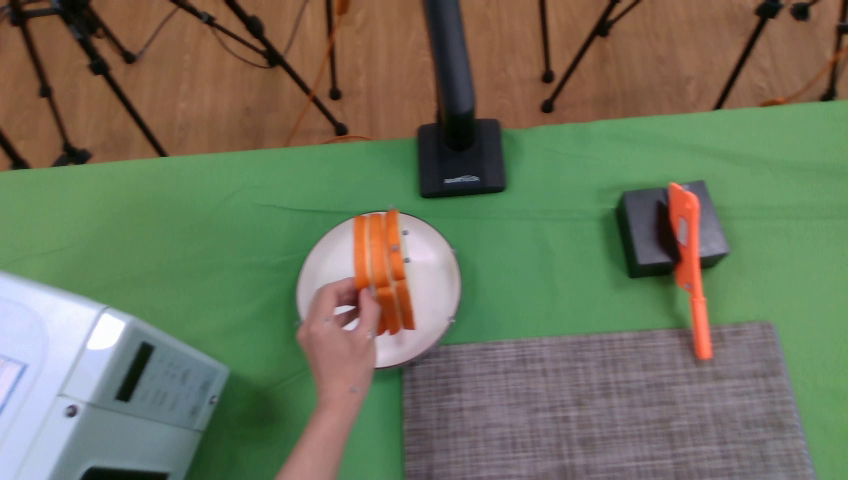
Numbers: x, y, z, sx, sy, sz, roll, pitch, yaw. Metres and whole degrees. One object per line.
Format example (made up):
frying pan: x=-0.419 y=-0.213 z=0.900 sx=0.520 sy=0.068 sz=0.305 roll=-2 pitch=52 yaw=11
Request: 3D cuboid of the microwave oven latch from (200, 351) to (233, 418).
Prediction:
microwave oven latch: x=-0.255 y=0.169 z=0.718 sx=0.030 sy=0.030 sz=0.079 roll=16 pitch=72 yaw=10

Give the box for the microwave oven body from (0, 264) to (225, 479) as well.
microwave oven body: x=-0.456 y=0.256 z=0.596 sx=0.325 sy=0.262 sz=0.439 roll=15 pitch=71 yaw=9

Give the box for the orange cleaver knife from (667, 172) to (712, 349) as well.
orange cleaver knife: x=0.314 y=0.023 z=0.723 sx=0.012 sy=0.077 sz=0.212 roll=-10 pitch=98 yaw=0

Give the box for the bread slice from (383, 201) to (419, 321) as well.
bread slice: x=-0.027 y=0.022 z=0.701 sx=0.018 sy=0.135 sz=0.106 roll=-10 pitch=58 yaw=0

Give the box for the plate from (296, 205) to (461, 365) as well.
plate: x=-0.055 y=0.056 z=0.767 sx=0.207 sy=0.039 sz=0.206 roll=-1 pitch=69 yaw=4

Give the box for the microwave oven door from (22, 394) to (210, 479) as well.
microwave oven door: x=-0.329 y=0.327 z=0.553 sx=0.039 sy=0.245 sz=0.354 roll=14 pitch=70 yaw=10
